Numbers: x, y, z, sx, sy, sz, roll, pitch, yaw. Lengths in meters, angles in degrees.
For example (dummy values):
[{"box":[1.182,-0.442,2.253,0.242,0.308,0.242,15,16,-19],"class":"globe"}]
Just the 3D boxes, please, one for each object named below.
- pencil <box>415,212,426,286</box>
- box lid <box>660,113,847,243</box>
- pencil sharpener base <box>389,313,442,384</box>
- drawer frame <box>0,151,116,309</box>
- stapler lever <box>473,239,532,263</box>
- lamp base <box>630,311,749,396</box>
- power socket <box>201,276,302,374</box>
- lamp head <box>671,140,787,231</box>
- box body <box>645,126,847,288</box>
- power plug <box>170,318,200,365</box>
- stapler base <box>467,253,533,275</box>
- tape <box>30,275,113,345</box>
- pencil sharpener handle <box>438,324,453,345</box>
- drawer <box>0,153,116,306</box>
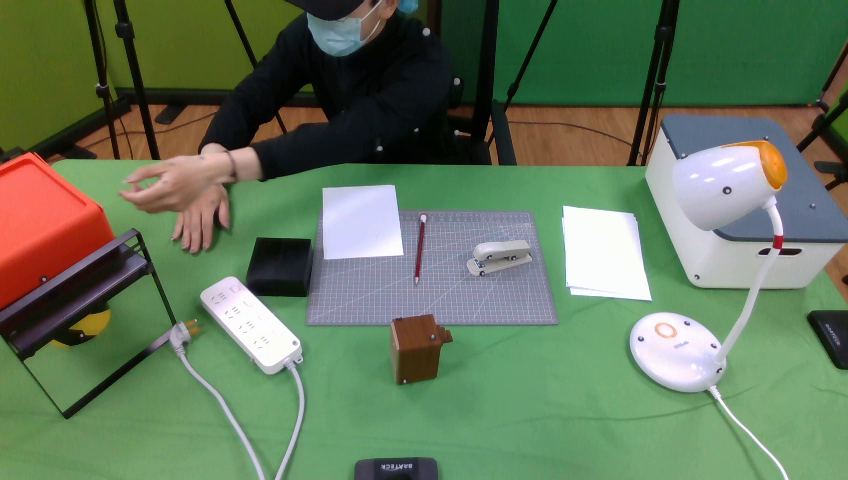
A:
[{"box":[-0.007,0.014,1.190,0.012,0.012,0.193,5,48,1],"class":"pencil"},{"box":[0.628,-0.132,1.170,0.263,0.015,0.369,1,46,-3],"class":"box lid"},{"box":[-0.013,0.175,0.971,0.077,0.107,0.061,-8,47,-12],"class":"pencil sharpener base"},{"box":[-0.604,-0.013,0.875,0.201,0.083,0.213,31,52,23],"class":"drawer frame"},{"box":[0.150,0.017,1.155,0.118,0.040,0.026,-13,50,-17],"class":"stapler lever"},{"box":[0.447,0.143,0.983,0.161,0.181,0.178,-24,55,-24],"class":"lamp base"},{"box":[-0.297,0.141,1.034,0.072,0.033,0.225,-34,58,-30],"class":"power socket"},{"box":[0.415,-0.078,0.811,0.113,0.123,0.112,12,70,-37],"class":"lamp head"},{"box":[0.625,-0.080,1.222,0.254,0.161,0.361,0,46,-3],"class":"box body"},{"box":[-0.392,0.167,1.015,0.052,0.035,0.072,-29,92,-24],"class":"power plug"},{"box":[0.147,0.034,1.172,0.131,0.024,0.041,-12,49,-17],"class":"stapler base"},{"box":[-0.593,0.117,1.021,0.117,0.053,0.116,3,46,-3],"class":"tape"},{"box":[0.036,0.155,0.976,0.031,0.068,0.036,-8,69,-11],"class":"pencil sharpener handle"},{"box":[-0.601,-0.015,0.880,0.193,0.073,0.211,32,53,23],"class":"drawer"}]
